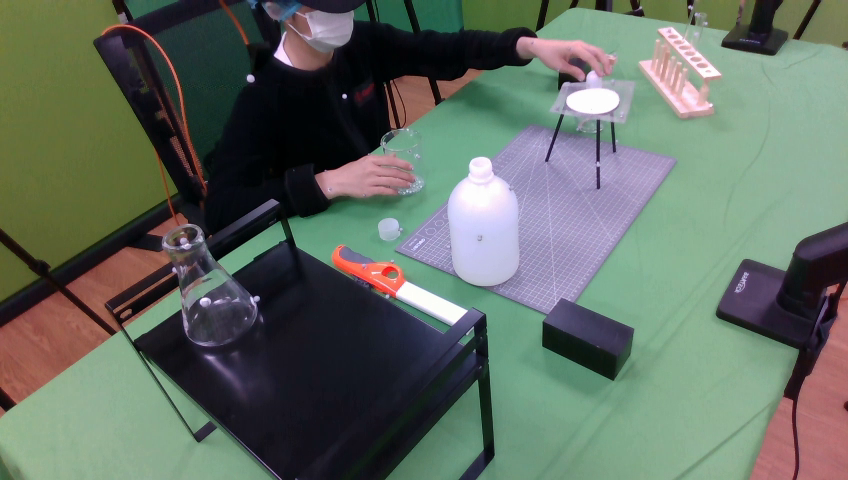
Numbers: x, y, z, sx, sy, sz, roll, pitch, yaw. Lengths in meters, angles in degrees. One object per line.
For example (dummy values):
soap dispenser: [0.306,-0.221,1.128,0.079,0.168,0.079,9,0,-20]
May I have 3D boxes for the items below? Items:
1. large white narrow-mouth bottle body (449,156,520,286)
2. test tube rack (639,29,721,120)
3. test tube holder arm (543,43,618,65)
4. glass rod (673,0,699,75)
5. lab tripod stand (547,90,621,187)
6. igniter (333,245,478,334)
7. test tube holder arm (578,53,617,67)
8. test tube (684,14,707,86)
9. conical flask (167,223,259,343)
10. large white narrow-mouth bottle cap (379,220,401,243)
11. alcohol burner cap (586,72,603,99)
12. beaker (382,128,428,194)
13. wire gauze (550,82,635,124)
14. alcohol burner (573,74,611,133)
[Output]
large white narrow-mouth bottle body: [0.086,-0.032,0.869,0.102,0.195,0.101,-4,40,4]
test tube rack: [0.527,-0.351,1.262,0.067,0.085,0.241,-8,40,1]
test tube holder arm: [0.345,-0.413,1.340,0.177,0.015,0.013,25,50,31]
glass rod: [0.541,-0.427,1.246,0.008,0.200,0.008,0,48,1]
lab tripod stand: [0.289,-0.184,1.062,0.148,0.132,0.147,-6,41,6]
igniter: [-0.038,0.068,0.905,0.274,0.025,0.057,24,60,32]
test tube holder arm: [0.376,-0.393,1.314,0.087,0.015,0.010,26,51,32]
test tube: [0.541,-0.379,1.216,0.017,0.151,0.017,-2,44,2]
conical flask: [-0.220,0.041,0.613,0.075,0.122,0.075,-5,40,4]
large white narrow-mouth bottle cap: [-0.057,-0.015,1.012,0.038,0.024,0.037,-4,40,4]
alcohol burner cap: [0.325,-0.297,1.153,0.034,0.048,0.033,-7,30,5]
beaker: [-0.031,-0.142,1.096,0.073,0.101,0.084,14,44,23]
wire gauze: [0.285,-0.236,1.020,0.124,0.011,0.121,10,44,22]
alcohol burner: [0.331,-0.270,1.177,0.078,0.119,0.077,-4,43,4]
